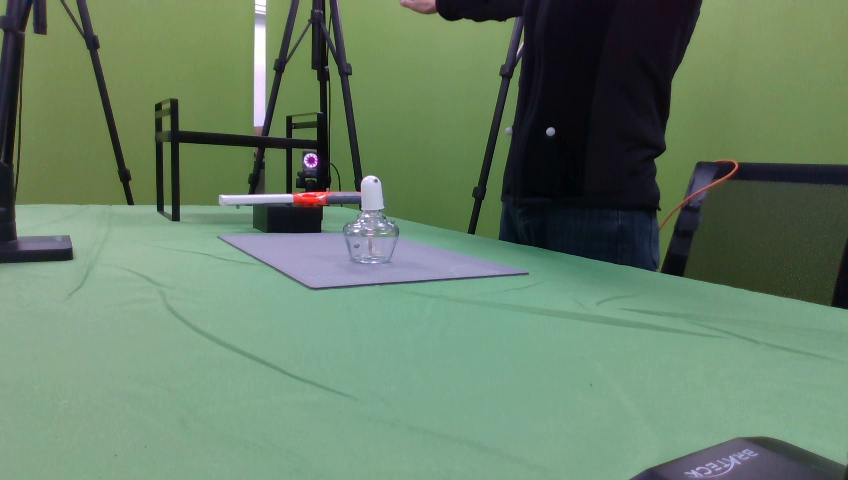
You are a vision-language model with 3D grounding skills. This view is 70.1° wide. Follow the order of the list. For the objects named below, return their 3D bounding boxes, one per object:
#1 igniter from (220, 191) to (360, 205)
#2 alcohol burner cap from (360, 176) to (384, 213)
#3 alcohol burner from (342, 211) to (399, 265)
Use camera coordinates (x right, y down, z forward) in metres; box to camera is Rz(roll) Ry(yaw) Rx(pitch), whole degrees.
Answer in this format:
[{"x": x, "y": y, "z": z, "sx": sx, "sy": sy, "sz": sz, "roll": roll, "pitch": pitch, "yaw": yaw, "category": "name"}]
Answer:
[{"x": -0.243, "y": -0.079, "z": 1.152, "sx": 0.278, "sy": 0.025, "sz": 0.057, "roll": -3, "pitch": 12, "yaw": -26, "category": "igniter"}, {"x": -0.071, "y": -0.063, "z": 0.814, "sx": 0.034, "sy": 0.048, "sz": 0.034, "roll": -2, "pitch": 12, "yaw": 1, "category": "alcohol burner cap"}, {"x": -0.073, "y": -0.027, "z": 0.818, "sx": 0.078, "sy": 0.119, "sz": 0.078, "roll": 1, "pitch": 6, "yaw": 0, "category": "alcohol burner"}]
